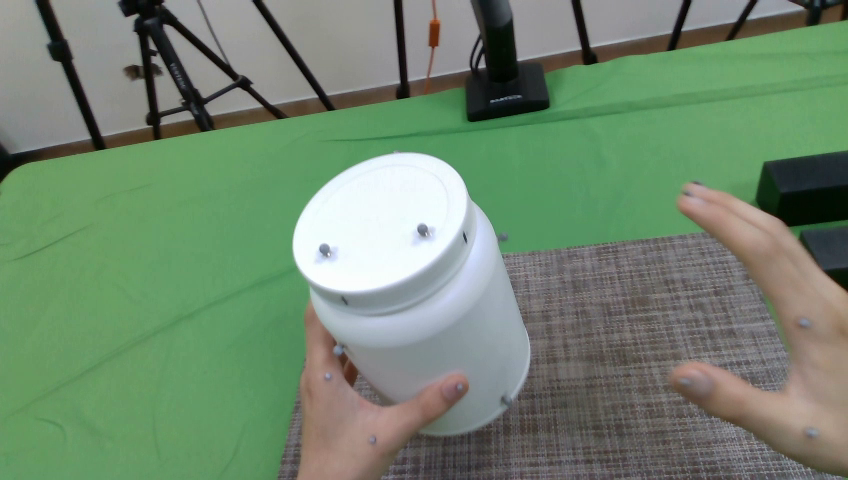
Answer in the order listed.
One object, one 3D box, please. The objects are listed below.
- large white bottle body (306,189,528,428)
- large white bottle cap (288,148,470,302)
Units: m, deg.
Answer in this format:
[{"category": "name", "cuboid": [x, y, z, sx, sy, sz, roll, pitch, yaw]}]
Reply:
[{"category": "large white bottle body", "cuboid": [-0.003, 0.040, 0.436, 0.130, 0.186, 0.129, -11, 48, 13]}, {"category": "large white bottle cap", "cuboid": [-0.029, -0.013, 0.375, 0.114, 0.018, 0.113, -11, 48, 12]}]
